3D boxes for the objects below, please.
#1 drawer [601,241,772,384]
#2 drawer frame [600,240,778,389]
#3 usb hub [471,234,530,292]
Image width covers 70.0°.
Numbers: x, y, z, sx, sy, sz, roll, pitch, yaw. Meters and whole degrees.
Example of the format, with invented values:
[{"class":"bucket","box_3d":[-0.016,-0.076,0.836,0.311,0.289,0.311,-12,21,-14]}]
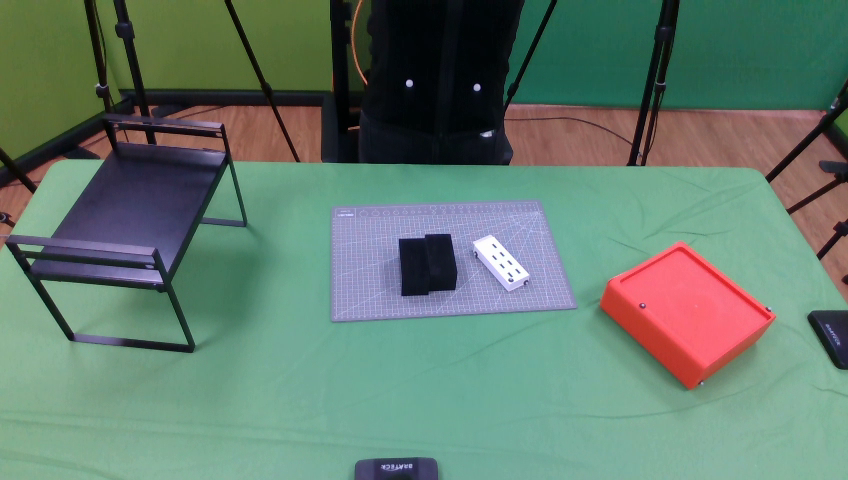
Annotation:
[{"class":"drawer","box_3d":[0.458,0.121,1.072,0.194,0.073,0.210,-23,52,-25]},{"class":"drawer frame","box_3d":[0.460,0.122,1.068,0.202,0.083,0.212,-25,53,-25]},{"class":"usb hub","box_3d":[0.145,0.042,1.160,0.049,0.025,0.124,-23,51,-23]}]
